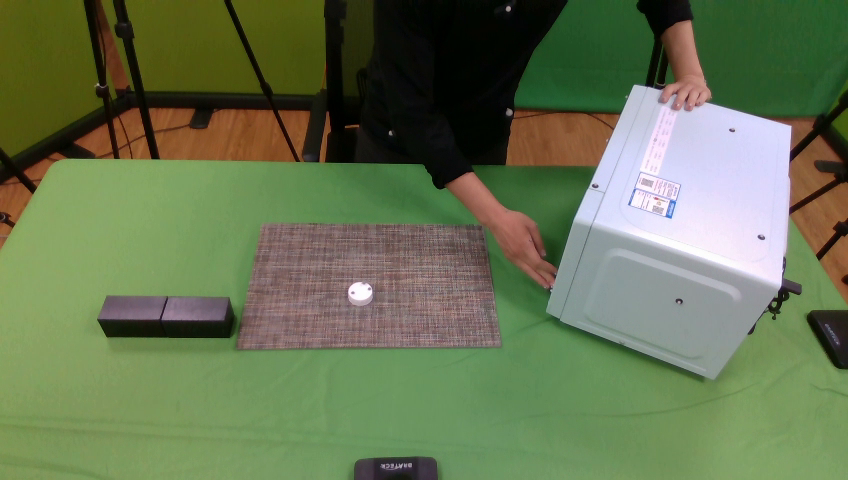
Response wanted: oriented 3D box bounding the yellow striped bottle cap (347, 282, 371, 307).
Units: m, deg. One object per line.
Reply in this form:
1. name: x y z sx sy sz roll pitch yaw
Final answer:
1. yellow striped bottle cap: -0.117 0.098 1.093 0.044 0.019 0.044 3 45 -3

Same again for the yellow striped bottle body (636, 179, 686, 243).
1. yellow striped bottle body: 0.443 -0.056 1.126 0.063 0.121 0.062 1 48 -1

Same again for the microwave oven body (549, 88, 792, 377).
1. microwave oven body: 0.456 -0.028 1.088 0.325 0.261 0.440 20 47 16

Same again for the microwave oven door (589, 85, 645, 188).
1. microwave oven door: 0.341 -0.108 1.149 0.039 0.245 0.354 20 48 15

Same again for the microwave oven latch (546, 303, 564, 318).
1. microwave oven latch: 0.242 0.102 1.081 0.030 0.029 0.079 21 47 16
